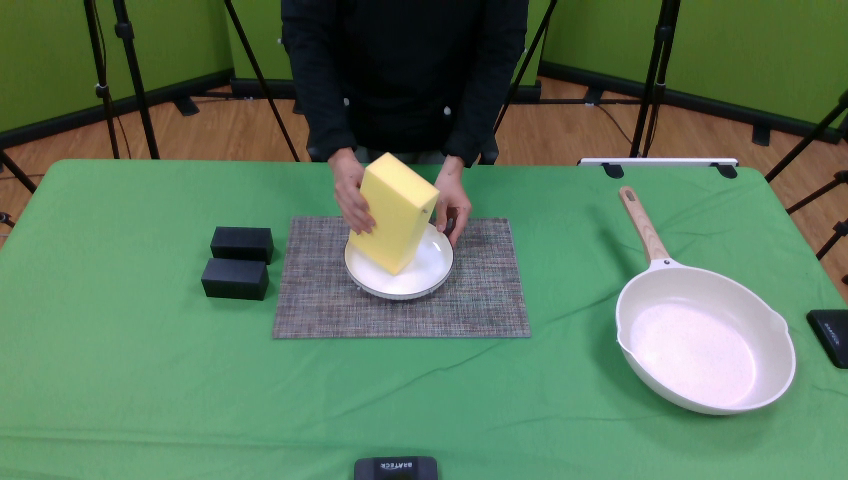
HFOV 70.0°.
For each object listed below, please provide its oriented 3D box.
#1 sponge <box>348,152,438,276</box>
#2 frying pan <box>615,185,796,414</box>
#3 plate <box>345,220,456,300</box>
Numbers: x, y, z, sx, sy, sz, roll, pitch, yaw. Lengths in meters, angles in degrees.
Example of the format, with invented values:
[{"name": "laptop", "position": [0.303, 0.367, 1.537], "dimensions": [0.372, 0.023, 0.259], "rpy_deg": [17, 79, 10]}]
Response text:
[{"name": "sponge", "position": [-0.061, -0.040, 1.077], "dimensions": [0.118, 0.207, 0.061], "rpy_deg": [38, 53, 12]}, {"name": "frying pan", "position": [0.450, 0.087, 1.092], "dimensions": [0.307, 0.103, 0.484], "rpy_deg": [-4, 55, -10]}, {"name": "plate", "position": [-0.045, 0.035, 1.146], "dimensions": [0.208, 0.039, 0.206], "rpy_deg": [2, 46, -2]}]
